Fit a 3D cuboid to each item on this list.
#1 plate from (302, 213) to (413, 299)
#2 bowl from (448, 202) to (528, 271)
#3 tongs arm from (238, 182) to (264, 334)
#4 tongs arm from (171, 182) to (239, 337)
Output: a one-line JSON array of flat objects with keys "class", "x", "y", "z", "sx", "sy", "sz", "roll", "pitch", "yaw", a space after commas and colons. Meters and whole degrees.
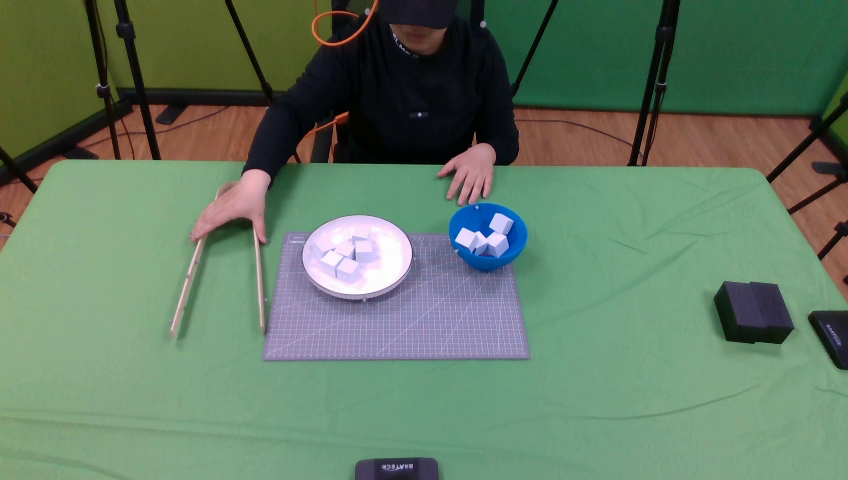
[{"class": "plate", "x": -0.124, "y": 0.033, "z": 1.143, "sx": 0.208, "sy": 0.039, "sz": 0.206, "roll": 2, "pitch": 46, "yaw": -2}, {"class": "bowl", "x": 0.118, "y": 0.006, "z": 1.160, "sx": 0.151, "sy": 0.077, "sz": 0.150, "roll": 2, "pitch": 46, "yaw": -2}, {"class": "tongs arm", "x": -0.327, "y": 0.020, "z": 1.151, "sx": 0.028, "sy": 0.028, "sz": 0.384, "roll": -11, "pitch": 47, "yaw": -11}, {"class": "tongs arm", "x": -0.404, "y": 0.021, "z": 1.138, "sx": 0.051, "sy": 0.026, "sz": 0.382, "roll": 1, "pitch": 45, "yaw": -5}]
